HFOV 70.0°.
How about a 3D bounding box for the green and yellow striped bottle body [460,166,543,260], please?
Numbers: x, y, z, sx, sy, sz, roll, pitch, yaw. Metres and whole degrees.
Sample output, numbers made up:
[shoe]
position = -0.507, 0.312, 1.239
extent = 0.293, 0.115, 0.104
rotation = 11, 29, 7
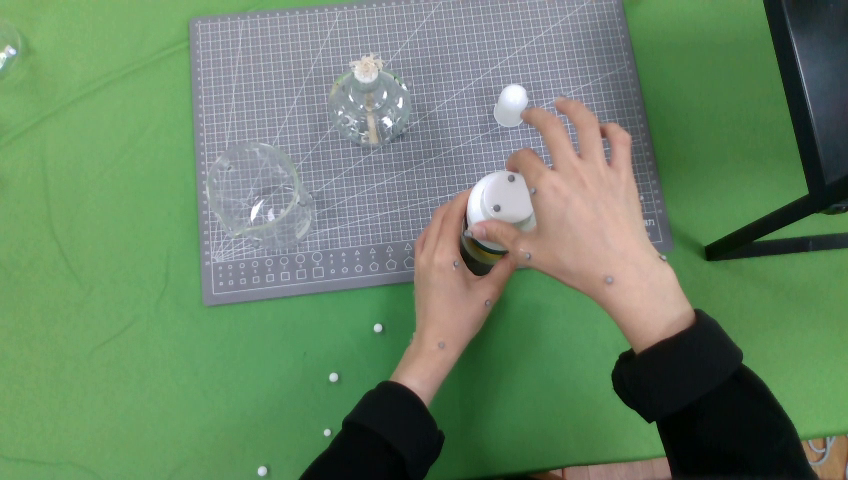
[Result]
[green and yellow striped bottle body]
position = 0.066, -0.024, 0.528
extent = 0.063, 0.120, 0.063
rotation = 0, 78, -1

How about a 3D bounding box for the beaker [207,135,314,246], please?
[beaker]
position = -0.140, -0.035, 0.536
extent = 0.074, 0.100, 0.083
rotation = 21, 79, 4

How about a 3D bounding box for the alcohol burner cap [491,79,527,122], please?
[alcohol burner cap]
position = 0.085, -0.139, 0.592
extent = 0.034, 0.048, 0.033
rotation = 0, 78, -1

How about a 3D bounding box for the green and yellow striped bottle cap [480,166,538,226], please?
[green and yellow striped bottle cap]
position = 0.067, -0.035, 0.476
extent = 0.045, 0.020, 0.045
rotation = 0, 78, 2

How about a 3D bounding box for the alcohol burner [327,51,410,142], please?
[alcohol burner]
position = -0.052, -0.136, 0.552
extent = 0.078, 0.119, 0.077
rotation = 1, 76, -2

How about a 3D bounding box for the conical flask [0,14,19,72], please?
[conical flask]
position = -0.445, -0.208, 0.556
extent = 0.075, 0.122, 0.075
rotation = 0, 77, -1
